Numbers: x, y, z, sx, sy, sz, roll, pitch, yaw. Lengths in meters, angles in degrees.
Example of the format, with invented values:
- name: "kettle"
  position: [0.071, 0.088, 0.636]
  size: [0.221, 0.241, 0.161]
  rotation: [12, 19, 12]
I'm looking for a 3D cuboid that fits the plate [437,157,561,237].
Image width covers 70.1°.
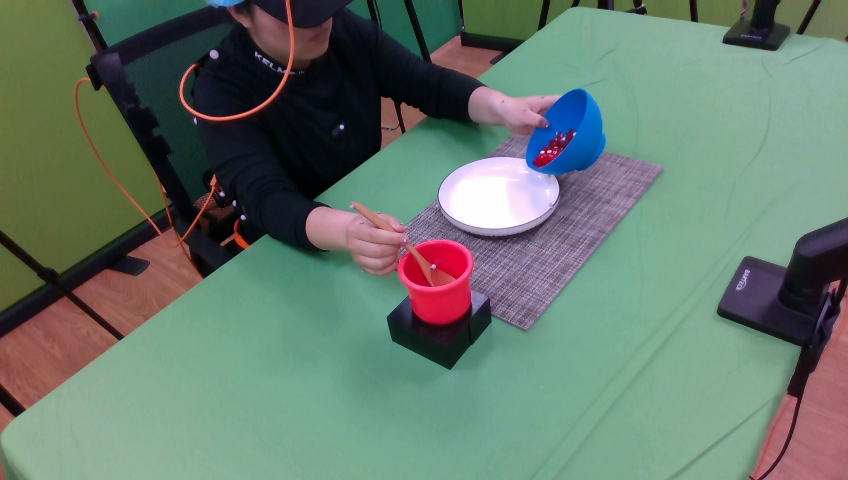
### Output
- name: "plate"
  position: [0.127, -0.069, 1.024]
  size: [0.207, 0.039, 0.206]
  rotation: [-5, 40, 5]

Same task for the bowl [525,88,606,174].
- name: "bowl"
  position: [0.246, -0.165, 0.998]
  size: [0.077, 0.151, 0.150]
  rotation: [28, 37, -20]

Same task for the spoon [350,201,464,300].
- name: "spoon"
  position: [-0.020, 0.012, 0.787]
  size: [0.021, 0.194, 0.041]
  rotation: [-33, 20, 38]
